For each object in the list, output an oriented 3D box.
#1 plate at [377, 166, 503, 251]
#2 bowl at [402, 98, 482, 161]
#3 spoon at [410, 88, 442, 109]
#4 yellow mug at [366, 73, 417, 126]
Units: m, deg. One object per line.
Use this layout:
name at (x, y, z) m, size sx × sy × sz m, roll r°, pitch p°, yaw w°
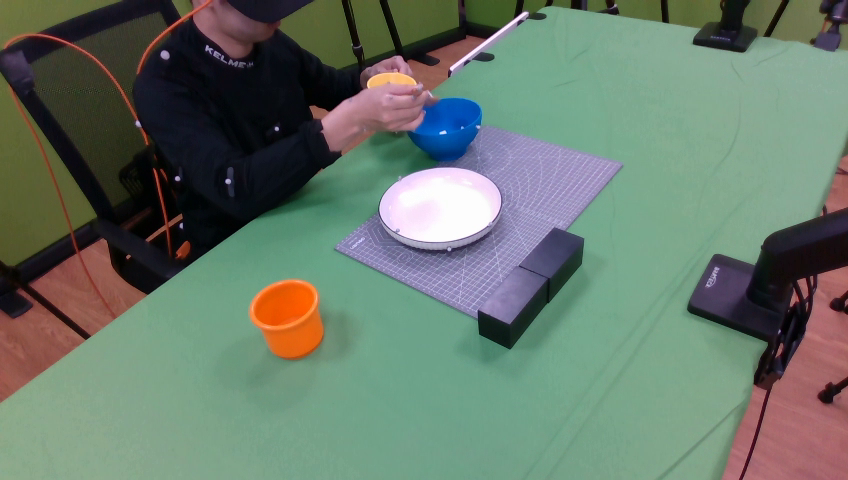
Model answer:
plate at (0.027, -0.050, 1.007) m, size 0.209 × 0.038 × 0.208 m, roll -4°, pitch 41°, yaw 4°
bowl at (0.040, -0.203, 1.155) m, size 0.151 × 0.077 × 0.150 m, roll -7°, pitch 37°, yaw 6°
spoon at (-0.002, -0.247, 1.046) m, size 0.041 × 0.021 × 0.194 m, roll -16°, pitch 0°, yaw 13°
yellow mug at (-0.063, -0.294, 1.230) m, size 0.100 × 0.064 × 0.130 m, roll 6°, pitch 41°, yaw 4°
